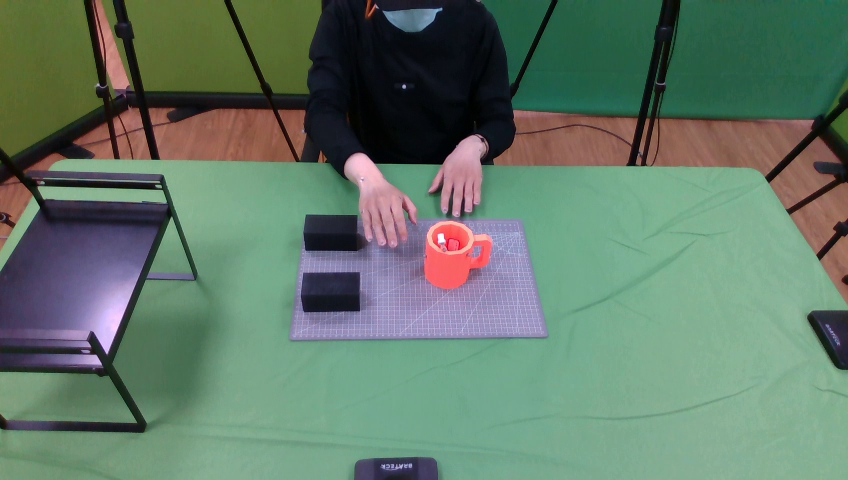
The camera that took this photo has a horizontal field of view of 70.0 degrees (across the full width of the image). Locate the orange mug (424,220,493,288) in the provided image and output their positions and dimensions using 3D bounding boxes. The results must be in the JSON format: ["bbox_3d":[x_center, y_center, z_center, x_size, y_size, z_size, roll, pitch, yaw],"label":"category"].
[{"bbox_3d":[0.063,0.023,1.119,0.126,0.101,0.083,-9,47,-6],"label":"orange mug"}]

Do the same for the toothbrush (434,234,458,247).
[{"bbox_3d":[0.042,0.003,1.069,0.016,0.182,0.014,37,96,11],"label":"toothbrush"}]
